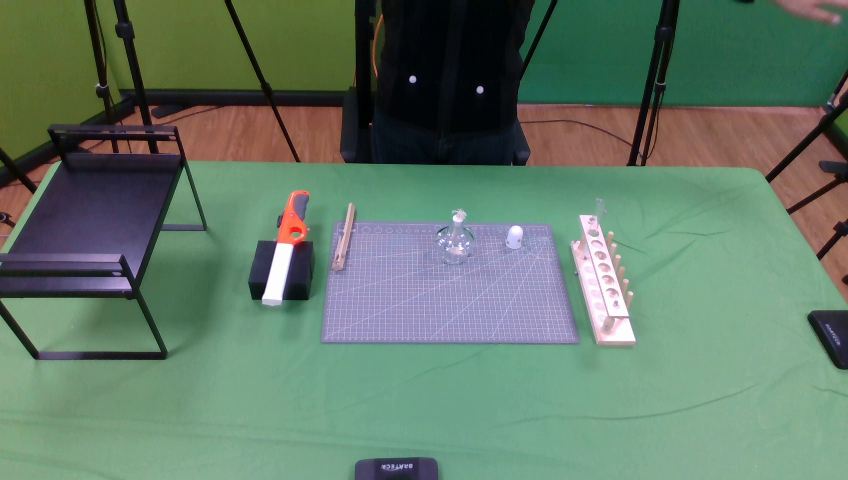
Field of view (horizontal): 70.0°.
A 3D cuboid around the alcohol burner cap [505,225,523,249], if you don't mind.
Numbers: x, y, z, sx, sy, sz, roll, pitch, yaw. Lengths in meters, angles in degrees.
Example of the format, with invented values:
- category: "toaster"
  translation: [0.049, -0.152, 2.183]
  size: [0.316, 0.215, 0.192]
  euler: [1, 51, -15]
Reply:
- category: "alcohol burner cap"
  translation: [0.180, -0.009, 1.203]
  size: [0.034, 0.048, 0.033]
  euler: [2, 47, -2]

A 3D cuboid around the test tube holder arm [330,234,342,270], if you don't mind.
- category: "test tube holder arm"
  translation: [-0.164, 0.021, 1.163]
  size: [0.010, 0.015, 0.087]
  euler: [-15, 43, 23]

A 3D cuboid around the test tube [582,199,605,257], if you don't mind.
- category: "test tube"
  translation: [0.314, -0.019, 1.129]
  size: [0.017, 0.151, 0.017]
  euler: [-1, 48, 1]

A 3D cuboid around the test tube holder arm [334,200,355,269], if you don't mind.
- category: "test tube holder arm"
  translation: [-0.154, -0.013, 1.191]
  size: [0.013, 0.015, 0.177]
  euler: [-15, 42, 23]

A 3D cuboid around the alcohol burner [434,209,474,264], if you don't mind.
- category: "alcohol burner"
  translation: [0.058, -0.011, 1.147]
  size: [0.078, 0.119, 0.077]
  euler: [3, 44, -3]

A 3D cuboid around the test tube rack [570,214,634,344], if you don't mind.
- category: "test tube rack"
  translation: [0.333, 0.067, 1.116]
  size: [0.067, 0.085, 0.241]
  euler: [1, 46, -3]

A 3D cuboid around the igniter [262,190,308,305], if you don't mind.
- category: "igniter"
  translation: [-0.252, 0.003, 1.107]
  size: [0.057, 0.025, 0.275]
  euler: [7, 47, -6]
